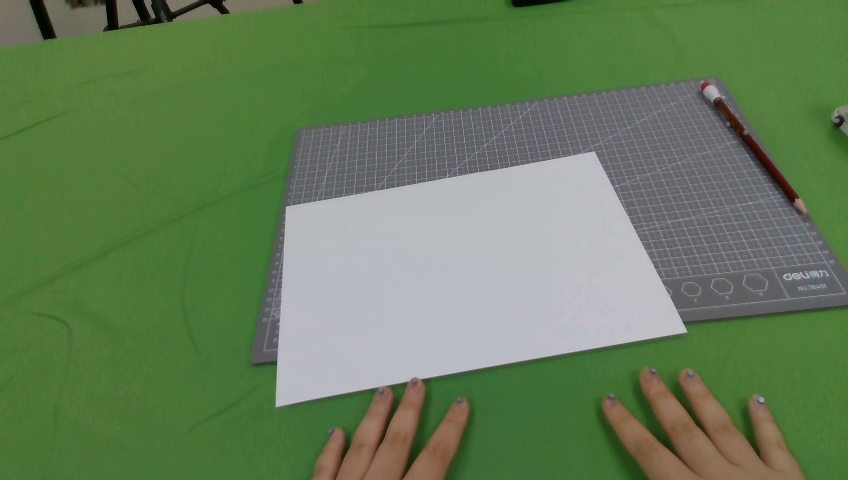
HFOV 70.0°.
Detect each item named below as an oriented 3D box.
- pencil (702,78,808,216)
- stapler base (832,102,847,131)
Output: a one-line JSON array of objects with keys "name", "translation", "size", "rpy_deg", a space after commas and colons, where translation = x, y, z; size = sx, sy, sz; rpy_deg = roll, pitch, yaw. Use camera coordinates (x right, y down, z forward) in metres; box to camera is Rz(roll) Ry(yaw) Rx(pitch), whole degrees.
[{"name": "pencil", "translation": [0.296, -0.090, 0.548], "size": [0.012, 0.012, 0.192], "rpy_deg": [-10, 48, 1]}, {"name": "stapler base", "translation": [0.407, -0.086, 0.522], "size": [0.041, 0.025, 0.129], "rpy_deg": [-11, 48, 2]}]
